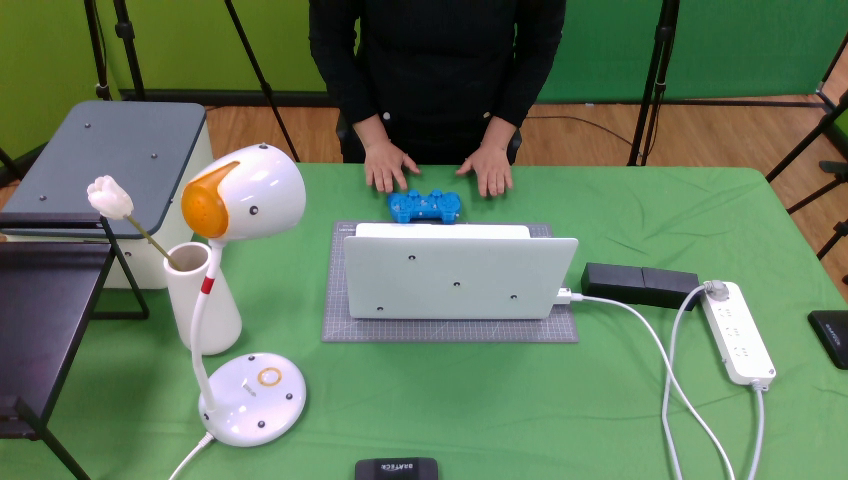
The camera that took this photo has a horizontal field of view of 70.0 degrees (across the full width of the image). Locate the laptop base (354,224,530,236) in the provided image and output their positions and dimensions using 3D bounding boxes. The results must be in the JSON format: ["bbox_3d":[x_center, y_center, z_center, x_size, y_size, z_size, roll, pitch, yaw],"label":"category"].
[{"bbox_3d":[0.040,0.055,1.149,0.355,0.023,0.234,1,42,-4],"label":"laptop base"}]

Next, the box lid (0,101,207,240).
[{"bbox_3d":[-0.559,-0.137,1.084,0.263,0.015,0.369,2,46,-2],"label":"box lid"}]

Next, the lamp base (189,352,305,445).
[{"bbox_3d":[-0.268,0.196,0.876,0.160,0.181,0.179,25,52,20],"label":"lamp base"}]

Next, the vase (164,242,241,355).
[{"bbox_3d":[-0.349,0.096,0.954,0.098,0.201,0.097,3,47,-3],"label":"vase"}]

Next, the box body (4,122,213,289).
[{"bbox_3d":[-0.563,-0.086,1.138,0.254,0.161,0.361,2,46,-3],"label":"box body"}]

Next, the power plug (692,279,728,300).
[{"bbox_3d":[0.522,0.091,1.116,0.072,0.053,0.035,10,47,8],"label":"power plug"}]

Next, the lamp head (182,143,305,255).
[{"bbox_3d":[-0.216,-0.044,0.697,0.112,0.113,0.123,23,31,17],"label":"lamp head"}]

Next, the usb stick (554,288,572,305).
[{"bbox_3d":[0.236,0.102,1.101,0.059,0.027,0.021,-2,47,1],"label":"usb stick"}]

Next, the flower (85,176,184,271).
[{"bbox_3d":[-0.365,0.038,0.894,0.038,0.364,0.044,-6,53,14],"label":"flower"}]

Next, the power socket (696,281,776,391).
[{"bbox_3d":[0.550,0.160,1.078,0.072,0.033,0.225,2,46,-1],"label":"power socket"}]

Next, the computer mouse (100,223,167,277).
[{"bbox_3d":[-0.539,0.014,1.123,0.062,0.041,0.117,30,57,18],"label":"computer mouse"}]

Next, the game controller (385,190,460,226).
[{"bbox_3d":[-0.001,-0.073,1.251,0.155,0.052,0.096,-2,47,-5],"label":"game controller"}]

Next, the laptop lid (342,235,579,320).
[{"bbox_3d":[0.051,0.067,0.973,0.357,0.243,0.013,1,52,-5],"label":"laptop lid"}]
